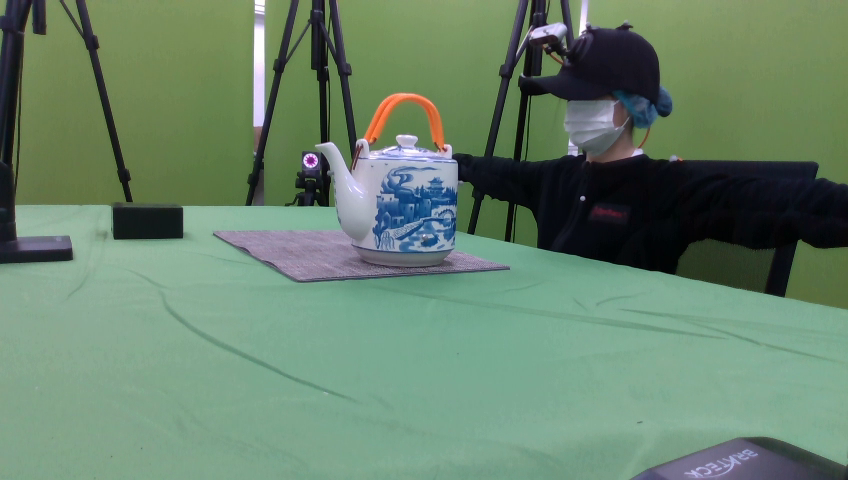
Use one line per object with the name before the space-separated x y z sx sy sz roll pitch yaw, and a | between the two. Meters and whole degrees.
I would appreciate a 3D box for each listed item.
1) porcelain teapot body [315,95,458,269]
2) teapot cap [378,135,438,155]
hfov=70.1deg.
porcelain teapot body | -0.049 -0.079 0.800 0.206 0.225 0.144 -3 9 -37
teapot cap | -0.023 -0.119 0.812 0.085 0.044 0.085 2 9 0
